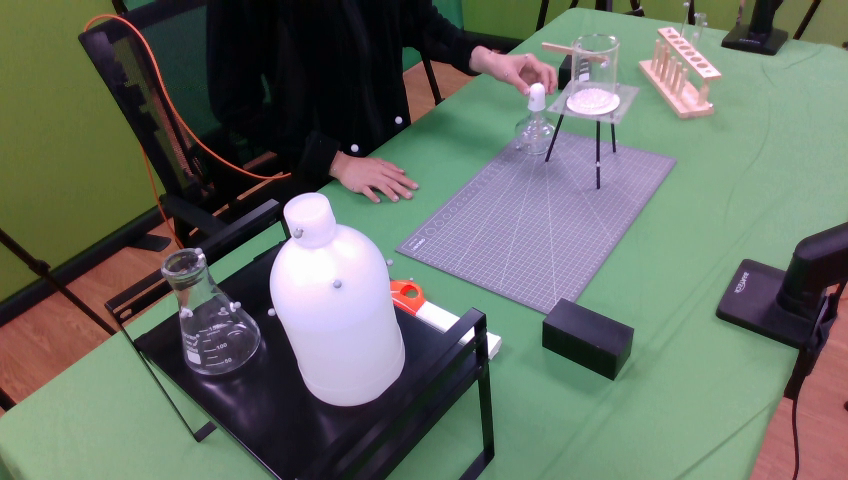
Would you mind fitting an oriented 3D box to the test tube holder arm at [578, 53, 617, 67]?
[{"bbox_3d":[0.376,-0.393,1.314,0.087,0.015,0.010,26,51,32],"label":"test tube holder arm"}]

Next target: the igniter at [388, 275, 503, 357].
[{"bbox_3d":[-0.008,0.093,0.870,0.274,0.025,0.057,24,60,33],"label":"igniter"}]

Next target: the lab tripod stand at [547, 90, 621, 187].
[{"bbox_3d":[0.289,-0.184,1.062,0.148,0.132,0.147,-6,41,6],"label":"lab tripod stand"}]

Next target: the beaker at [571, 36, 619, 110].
[{"bbox_3d":[0.281,-0.273,0.992,0.084,0.101,0.073,-24,42,-16],"label":"beaker"}]

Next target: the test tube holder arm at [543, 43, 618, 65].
[{"bbox_3d":[0.344,-0.413,1.341,0.177,0.015,0.013,25,50,31],"label":"test tube holder arm"}]

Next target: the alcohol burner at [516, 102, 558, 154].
[{"bbox_3d":[0.212,-0.222,1.134,0.078,0.119,0.077,-5,42,5],"label":"alcohol burner"}]

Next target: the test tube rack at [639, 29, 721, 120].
[{"bbox_3d":[0.527,-0.351,1.262,0.067,0.085,0.241,-7,40,1],"label":"test tube rack"}]

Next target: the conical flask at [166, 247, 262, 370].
[{"bbox_3d":[-0.209,0.063,0.584,0.075,0.122,0.075,-5,40,4],"label":"conical flask"}]

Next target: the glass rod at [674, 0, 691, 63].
[{"bbox_3d":[0.537,-0.437,1.257,0.008,0.200,0.008,0,39,1],"label":"glass rod"}]

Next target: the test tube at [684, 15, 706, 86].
[{"bbox_3d":[0.541,-0.378,1.216,0.017,0.151,0.017,-2,44,3],"label":"test tube"}]

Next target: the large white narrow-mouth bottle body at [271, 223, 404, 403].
[{"bbox_3d":[-0.077,0.048,0.525,0.102,0.195,0.101,-5,40,5],"label":"large white narrow-mouth bottle body"}]

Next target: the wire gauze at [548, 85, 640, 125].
[{"bbox_3d":[0.286,-0.233,1.020,0.124,0.011,0.122,15,43,30],"label":"wire gauze"}]

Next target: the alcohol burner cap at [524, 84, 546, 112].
[{"bbox_3d":[0.203,-0.261,1.099,0.034,0.048,0.033,8,48,-9],"label":"alcohol burner cap"}]

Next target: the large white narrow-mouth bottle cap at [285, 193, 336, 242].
[{"bbox_3d":[-0.087,-0.018,0.467,0.038,0.024,0.037,-5,40,4],"label":"large white narrow-mouth bottle cap"}]
